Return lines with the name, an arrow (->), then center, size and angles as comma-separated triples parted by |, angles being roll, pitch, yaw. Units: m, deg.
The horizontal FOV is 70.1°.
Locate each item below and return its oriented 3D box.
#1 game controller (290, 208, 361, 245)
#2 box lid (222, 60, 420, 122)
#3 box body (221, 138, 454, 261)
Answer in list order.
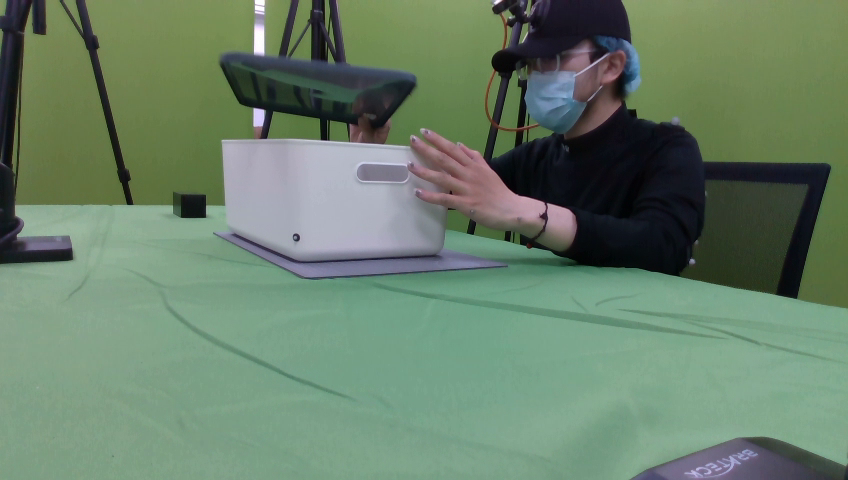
game controller -> -0.161, -0.023, 0.967 | 0.097, 0.051, 0.154 | -4, 7, -16
box lid -> -0.166, -0.224, 0.955 | 0.264, 0.015, 0.370 | 3, 3, -14
box body -> -0.152, -0.074, 0.963 | 0.255, 0.160, 0.362 | -3, 9, -33
